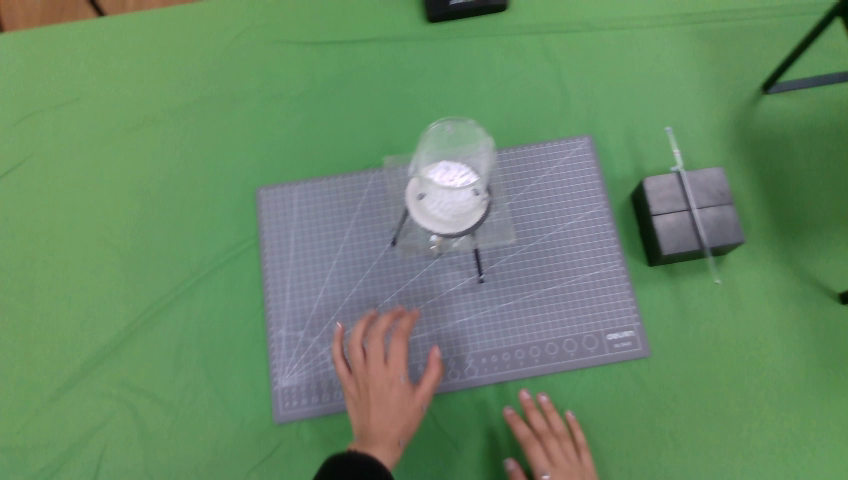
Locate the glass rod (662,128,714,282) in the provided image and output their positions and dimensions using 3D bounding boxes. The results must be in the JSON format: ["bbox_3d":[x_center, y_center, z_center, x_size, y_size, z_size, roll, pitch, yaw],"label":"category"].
[{"bbox_3d":[0.316,-0.045,0.726,0.008,0.008,0.198,-9,73,-2],"label":"glass rod"}]

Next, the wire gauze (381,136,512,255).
[{"bbox_3d":[0.023,-0.047,0.642,0.125,0.011,0.120,-8,73,-5],"label":"wire gauze"}]

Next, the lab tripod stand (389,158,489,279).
[{"bbox_3d":[0.026,-0.031,0.706,0.148,0.132,0.147,0,71,2],"label":"lab tripod stand"}]

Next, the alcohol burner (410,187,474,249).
[{"bbox_3d":[0.022,-0.031,0.716,0.078,0.119,0.077,0,74,0],"label":"alcohol burner"}]

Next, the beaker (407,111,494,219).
[{"bbox_3d":[0.024,-0.066,0.597,0.084,0.101,0.073,-25,73,-7],"label":"beaker"}]
